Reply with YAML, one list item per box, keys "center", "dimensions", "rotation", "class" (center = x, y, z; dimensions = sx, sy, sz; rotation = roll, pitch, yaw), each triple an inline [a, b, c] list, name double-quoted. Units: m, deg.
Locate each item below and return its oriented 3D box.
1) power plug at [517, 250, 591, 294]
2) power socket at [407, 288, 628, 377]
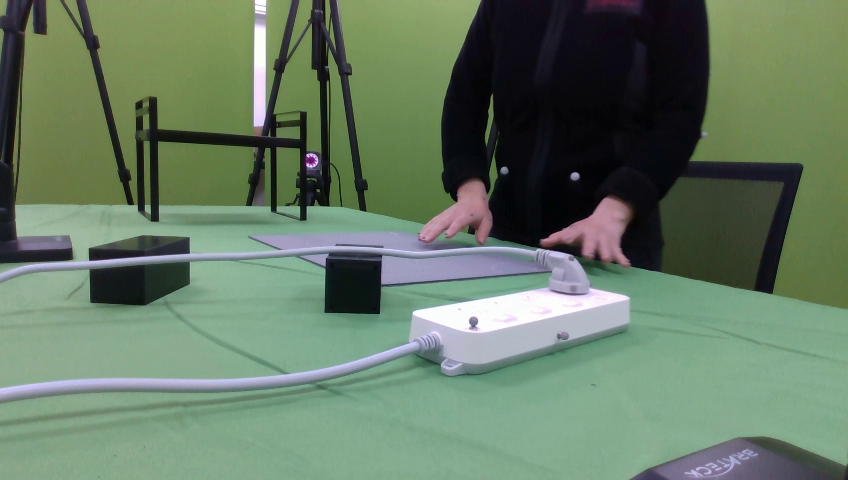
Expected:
- center: [0.120, 0.037, 0.554]
  dimensions: [0.035, 0.052, 0.072]
  rotation: [-2, 9, -32]
  class: "power plug"
- center: [0.084, 0.065, 0.485]
  dimensions: [0.228, 0.032, 0.072]
  rotation: [-5, 9, -42]
  class: "power socket"
